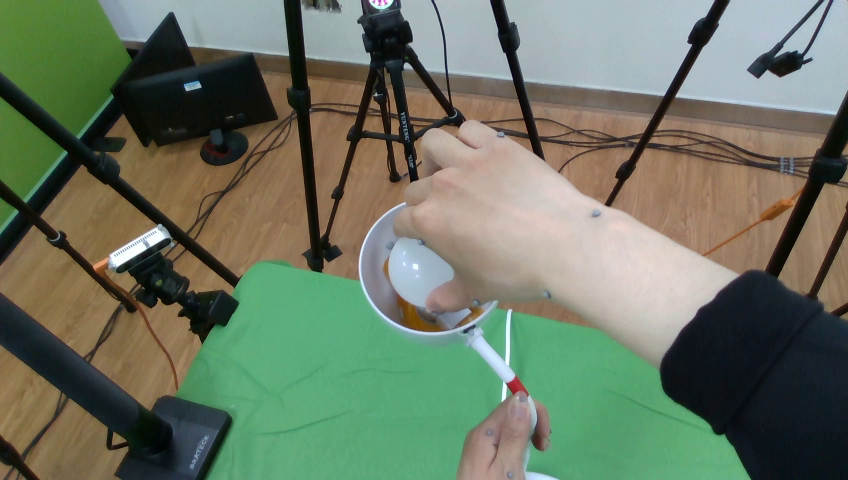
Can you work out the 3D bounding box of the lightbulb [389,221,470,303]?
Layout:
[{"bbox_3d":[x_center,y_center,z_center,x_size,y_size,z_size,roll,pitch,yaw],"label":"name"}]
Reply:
[{"bbox_3d":[0.004,0.024,0.465,0.059,0.108,0.059,0,69,2],"label":"lightbulb"}]

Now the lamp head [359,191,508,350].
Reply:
[{"bbox_3d":[0.012,0.038,0.494,0.112,0.124,0.111,-3,62,5],"label":"lamp head"}]

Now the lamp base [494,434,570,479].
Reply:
[{"bbox_3d":[0.117,0.291,0.643,0.161,0.182,0.177,-22,52,-10],"label":"lamp base"}]
